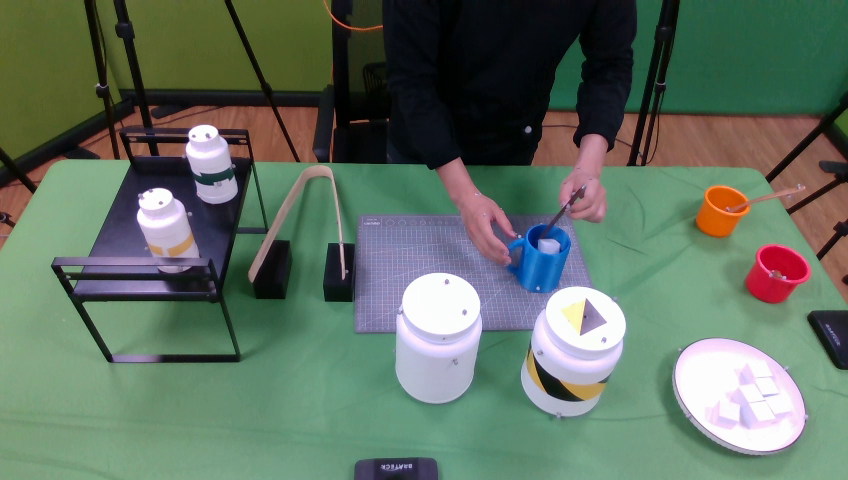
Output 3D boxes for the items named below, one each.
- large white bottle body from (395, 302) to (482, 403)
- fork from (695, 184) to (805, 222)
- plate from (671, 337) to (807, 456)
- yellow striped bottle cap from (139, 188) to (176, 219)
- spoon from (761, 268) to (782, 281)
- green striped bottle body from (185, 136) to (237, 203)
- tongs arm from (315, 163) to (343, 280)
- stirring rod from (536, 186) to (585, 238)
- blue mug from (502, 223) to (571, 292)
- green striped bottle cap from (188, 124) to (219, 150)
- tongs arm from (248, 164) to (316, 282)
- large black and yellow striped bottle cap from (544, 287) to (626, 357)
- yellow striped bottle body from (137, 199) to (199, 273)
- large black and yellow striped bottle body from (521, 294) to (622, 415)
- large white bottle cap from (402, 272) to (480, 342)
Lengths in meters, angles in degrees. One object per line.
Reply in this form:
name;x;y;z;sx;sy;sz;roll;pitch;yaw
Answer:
large white bottle body;0.020;0.153;0.939;0.131;0.185;0.130;2;46;-2
fork;0.657;-0.075;1.230;0.207;0.019;0.028;-23;33;37
plate;0.504;0.254;0.984;0.208;0.039;0.206;2;46;-2
yellow striped bottle cap;-0.363;-0.050;0.826;0.044;0.019;0.044;1;47;0
spoon;0.638;0.060;1.105;0.041;0.021;0.194;37;11;25
green striped bottle body;-0.341;-0.121;0.968;0.063;0.120;0.063;2;46;-2
tongs arm;-0.187;-0.049;1.170;0.051;0.026;0.382;-5;35;-6
stirring rod;0.233;-0.045;1.047;0.014;0.176;0.006;-27;73;-25
blue mug;0.203;0.031;1.121;0.116;0.106;0.082;5;46;1
green striped bottle cap;-0.339;-0.158;0.931;0.044;0.020;0.044;3;46;-3
tongs arm;-0.269;-0.048;1.165;0.028;0.028;0.385;0;34;7
large black and yellow striped bottle cap;0.232;0.116;0.876;0.115;0.019;0.114;2;46;-1
yellow striped bottle body;-0.366;-0.014;0.863;0.063;0.121;0.062;2;46;-2
large black and yellow striped bottle body;0.228;0.173;0.938;0.131;0.185;0.130;2;47;-2
large white bottle cap;0.024;0.095;0.878;0.115;0.018;0.114;2;47;-2
